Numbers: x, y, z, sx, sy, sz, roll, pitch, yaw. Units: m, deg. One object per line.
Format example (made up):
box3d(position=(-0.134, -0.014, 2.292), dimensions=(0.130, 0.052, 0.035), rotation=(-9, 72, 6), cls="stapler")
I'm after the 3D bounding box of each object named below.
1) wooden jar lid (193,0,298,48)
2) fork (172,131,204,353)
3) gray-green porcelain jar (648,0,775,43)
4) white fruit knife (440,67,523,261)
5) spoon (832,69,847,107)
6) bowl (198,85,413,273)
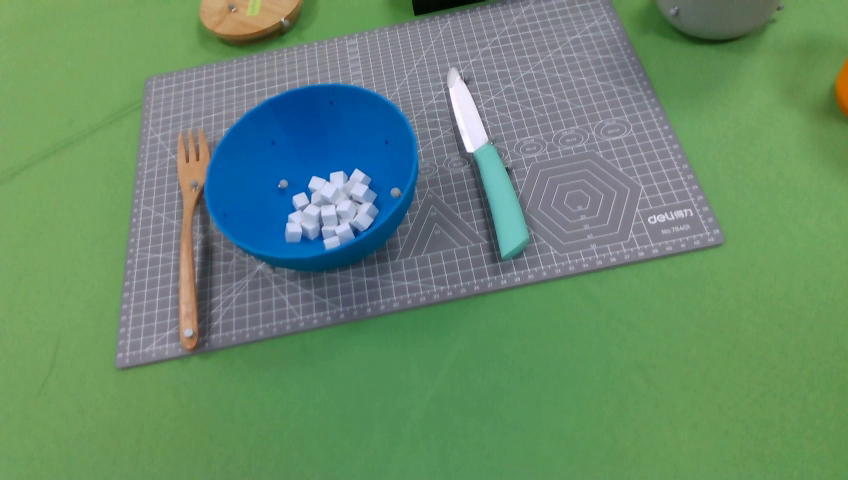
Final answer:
box3d(position=(-0.180, -0.236, 0.617), dimensions=(0.108, 0.021, 0.107), rotation=(-2, 60, 5), cls="wooden jar lid")
box3d(position=(-0.190, -0.007, 0.482), dimensions=(0.028, 0.019, 0.205), rotation=(-9, 57, -6), cls="fork")
box3d(position=(0.245, -0.238, 0.497), dimensions=(0.106, 0.127, 0.105), rotation=(-4, 59, 7), cls="gray-green porcelain jar")
box3d(position=(0.042, -0.072, 0.489), dimensions=(0.027, 0.016, 0.205), rotation=(-7, 58, -12), cls="white fruit knife")
box3d(position=(0.387, -0.148, 0.413), dimensions=(0.022, 0.193, 0.041), rotation=(16, 57, -34), cls="spoon")
box3d(position=(-0.077, -0.032, 0.447), dimensions=(0.151, 0.077, 0.150), rotation=(-3, 60, 6), cls="bowl")
